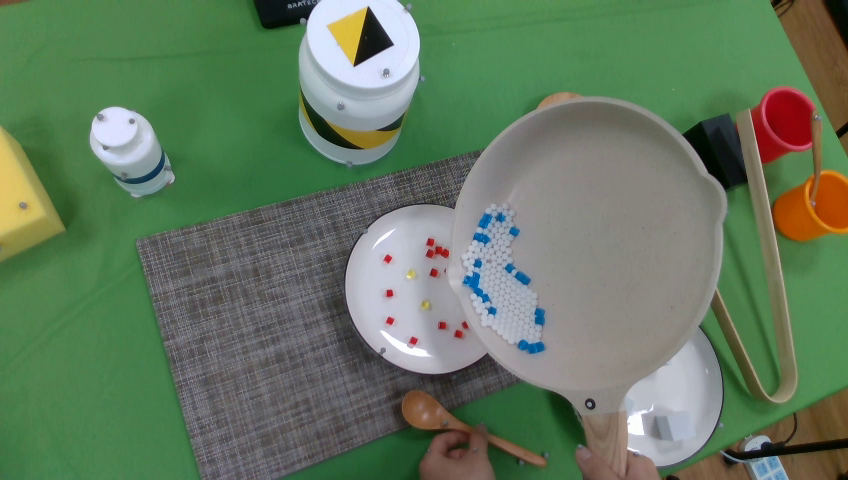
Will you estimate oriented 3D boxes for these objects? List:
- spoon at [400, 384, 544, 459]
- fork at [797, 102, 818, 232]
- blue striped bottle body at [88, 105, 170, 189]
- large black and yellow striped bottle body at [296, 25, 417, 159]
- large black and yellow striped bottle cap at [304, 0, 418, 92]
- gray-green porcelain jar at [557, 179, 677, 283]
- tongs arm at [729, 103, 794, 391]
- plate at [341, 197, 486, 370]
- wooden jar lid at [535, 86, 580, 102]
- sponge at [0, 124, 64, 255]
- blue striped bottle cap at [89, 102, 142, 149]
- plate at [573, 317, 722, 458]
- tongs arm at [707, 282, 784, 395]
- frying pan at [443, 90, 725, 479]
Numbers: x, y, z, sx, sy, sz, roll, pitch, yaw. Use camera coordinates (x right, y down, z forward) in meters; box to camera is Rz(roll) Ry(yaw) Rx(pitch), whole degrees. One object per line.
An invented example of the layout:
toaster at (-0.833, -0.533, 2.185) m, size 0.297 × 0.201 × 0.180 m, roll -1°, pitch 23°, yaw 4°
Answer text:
spoon at (0.058, 0.219, 0.709) m, size 0.194 × 0.022 × 0.041 m, roll 24°, pitch 57°, yaw -7°
fork at (0.525, -0.095, 0.824) m, size 0.028 × 0.018 × 0.209 m, roll -30°, pitch 128°, yaw -10°
blue striped bottle body at (-0.320, -0.103, 0.657) m, size 0.063 × 0.121 × 0.062 m, roll 3°, pitch 75°, yaw -11°
large black and yellow striped bottle body at (-0.080, -0.185, 0.697) m, size 0.131 × 0.184 × 0.130 m, roll 3°, pitch 75°, yaw -11°
large black and yellow striped bottle cap at (-0.063, -0.206, 0.616) m, size 0.115 × 0.019 × 0.114 m, roll 3°, pitch 75°, yaw -10°
gray-green porcelain jar at (0.231, -0.005, 0.750) m, size 0.106 × 0.127 × 0.105 m, roll 3°, pitch 75°, yaw -11°
tongs arm at (0.452, 0.007, 0.815) m, size 0.028 × 0.027 × 0.387 m, roll -8°, pitch 88°, yaw -22°
plate at (0.003, 0.051, 0.729) m, size 0.210 × 0.038 × 0.208 m, roll 3°, pitch 76°, yaw -11°
wooden jar lid at (0.196, -0.159, 0.837) m, size 0.109 × 0.021 × 0.108 m, roll 3°, pitch 77°, yaw -12°
sponge at (-0.511, -0.024, 0.626) m, size 0.207 × 0.061 × 0.118 m, roll -31°, pitch 85°, yaw -18°
blue striped bottle cap at (-0.309, -0.115, 0.608) m, size 0.045 × 0.021 × 0.044 m, roll 3°, pitch 73°, yaw -9°
plate at (0.272, 0.165, 0.764) m, size 0.208 × 0.039 × 0.206 m, roll 3°, pitch 75°, yaw -11°
tongs arm at (0.374, 0.031, 0.790) m, size 0.051 × 0.026 × 0.385 m, roll -23°, pitch 92°, yaw -19°
frying pan at (0.160, 0.098, 0.590) m, size 0.103 × 0.306 × 0.484 m, roll 16°, pitch 65°, yaw -46°
